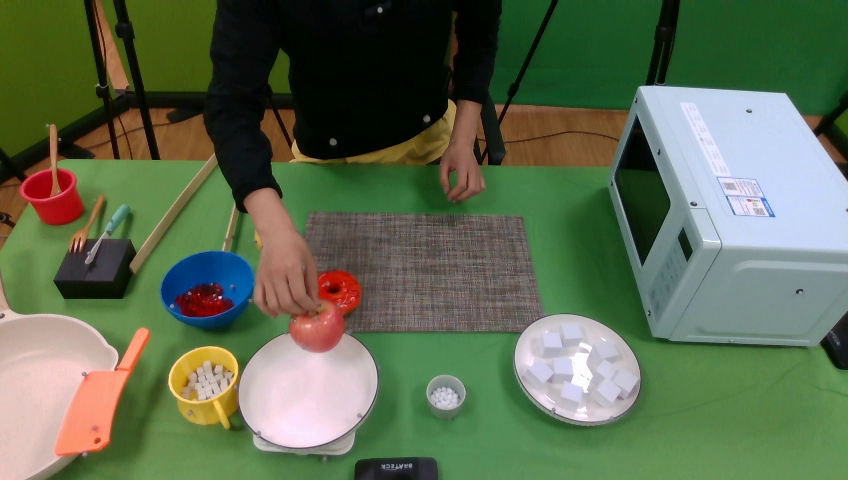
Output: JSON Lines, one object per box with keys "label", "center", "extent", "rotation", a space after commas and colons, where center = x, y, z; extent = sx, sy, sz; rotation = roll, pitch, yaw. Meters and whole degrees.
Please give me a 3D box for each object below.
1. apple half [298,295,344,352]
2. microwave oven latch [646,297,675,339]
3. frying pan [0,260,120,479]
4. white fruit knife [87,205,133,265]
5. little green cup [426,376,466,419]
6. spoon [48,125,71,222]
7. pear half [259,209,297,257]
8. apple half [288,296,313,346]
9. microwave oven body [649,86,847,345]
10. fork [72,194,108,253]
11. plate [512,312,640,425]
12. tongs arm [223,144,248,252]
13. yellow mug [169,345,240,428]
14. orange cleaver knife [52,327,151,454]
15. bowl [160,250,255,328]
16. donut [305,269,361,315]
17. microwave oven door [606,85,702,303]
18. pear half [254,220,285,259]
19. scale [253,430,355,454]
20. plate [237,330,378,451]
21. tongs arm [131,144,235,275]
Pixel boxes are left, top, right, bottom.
{"label": "apple half", "center": [-0.147, 0.128, 0.905], "extent": [0.053, 0.075, 0.080], "rotation": [7, 37, 10]}
{"label": "microwave oven latch", "center": [0.412, 0.134, 1.061], "extent": [0.030, 0.029, 0.078], "rotation": [4, 45, 1]}
{"label": "frying pan", "center": [-0.647, 0.164, 0.936], "extent": [0.307, 0.103, 0.485], "rotation": [-19, 58, -22]}
{"label": "white fruit knife", "center": [-0.584, -0.013, 1.129], "extent": [0.016, 0.027, 0.206], "rotation": [0, 31, -5]}
{"label": "little green cup", "center": [0.033, 0.248, 0.950], "extent": [0.061, 0.039, 0.061], "rotation": [2, 46, -2]}
{"label": "spoon", "center": [-0.718, -0.132, 1.188], "extent": [0.041, 0.021, 0.193], "rotation": [-3, 90, -7]}
{"label": "pear half", "center": [-0.273, -0.024, 1.141], "extent": [0.076, 0.110, 0.056], "rotation": [27, 50, 16]}
{"label": "apple half", "center": [-0.186, 0.125, 0.911], "extent": [0.033, 0.082, 0.081], "rotation": [7, 46, 9]}
{"label": "microwave oven body", "center": [0.567, -0.053, 1.118], "extent": [0.326, 0.261, 0.439], "rotation": [2, 45, -1]}
{"label": "fork", "center": [-0.634, -0.036, 1.158], "extent": [0.028, 0.019, 0.206], "rotation": [-7, 32, -8]}
{"label": "plate", "center": [0.246, 0.213, 0.999], "extent": [0.208, 0.039, 0.206], "rotation": [2, 46, -2]}
{"label": "tongs arm", "center": [-0.397, -0.073, 1.232], "extent": [0.051, 0.027, 0.382], "rotation": [-3, 45, 0]}
{"label": "yellow mug", "center": [-0.322, 0.230, 0.922], "extent": [0.100, 0.064, 0.130], "rotation": [-24, 53, -25]}
{"label": "orange cleaver knife", "center": [-0.462, 0.212, 0.879], "extent": [0.077, 0.012, 0.210], "rotation": [6, 45, -1]}
{"label": "bowl", "center": [-0.362, 0.098, 1.040], "extent": [0.151, 0.077, 0.150], "rotation": [2, 45, -2]}
{"label": "donut", "center": [-0.161, 0.095, 1.075], "extent": [0.099, 0.048, 0.098], "rotation": [4, 45, -4]}
{"label": "microwave oven door", "center": [0.422, -0.094, 1.140], "extent": [0.039, 0.245, 0.353], "rotation": [2, 46, -1]}
{"label": "pear half", "center": [-0.294, 0.003, 1.127], "extent": [0.070, 0.088, 0.031], "rotation": [25, 49, 16]}
{"label": "scale", "center": [-0.175, 0.236, 0.951], "extent": [0.149, 0.032, 0.199], "rotation": [4, 45, 0]}
{"label": "plate", "center": [-0.174, 0.224, 0.917], "extent": [0.209, 0.038, 0.208], "rotation": [2, 46, -2]}
{"label": "tongs arm", "center": [-0.484, -0.076, 1.236], "extent": [0.028, 0.028, 0.385], "rotation": [5, 45, 13]}
